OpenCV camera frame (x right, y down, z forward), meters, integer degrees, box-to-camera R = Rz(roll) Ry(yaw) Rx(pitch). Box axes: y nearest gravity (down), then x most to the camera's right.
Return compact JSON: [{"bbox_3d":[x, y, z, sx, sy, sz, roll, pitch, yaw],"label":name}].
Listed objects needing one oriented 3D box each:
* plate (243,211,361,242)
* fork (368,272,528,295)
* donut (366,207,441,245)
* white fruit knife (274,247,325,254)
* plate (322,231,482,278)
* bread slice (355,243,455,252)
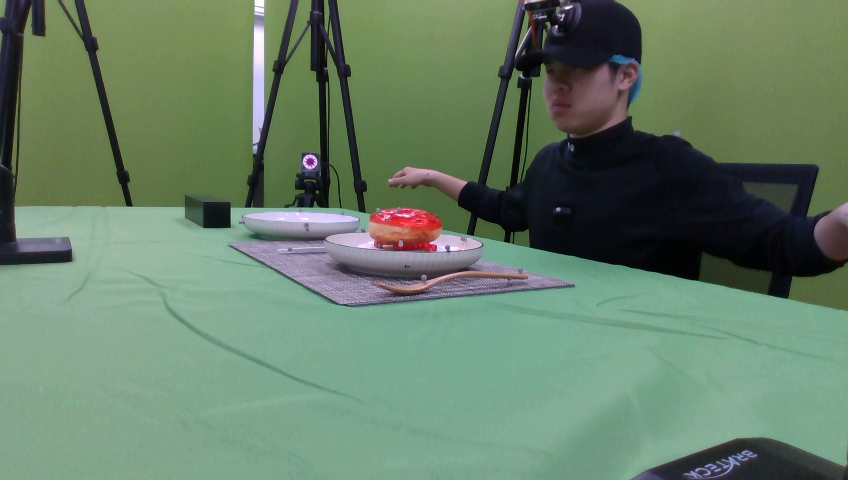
[{"bbox_3d":[-0.219,-0.025,1.091,0.208,0.039,0.207,3,7,0],"label":"plate"},{"bbox_3d":[0.034,0.046,0.661,0.208,0.018,0.028,-4,2,-33],"label":"fork"},{"bbox_3d":[-0.027,-0.017,0.786,0.099,0.048,0.099,2,7,0],"label":"donut"},{"bbox_3d":[-0.118,0.013,0.899,0.208,0.016,0.027,-3,-20,-27],"label":"white fruit knife"},{"bbox_3d":[-0.028,0.018,0.789,0.209,0.038,0.209,3,7,0],"label":"plate"},{"bbox_3d":[-0.027,0.020,0.794,0.131,0.019,0.105,6,7,17],"label":"bread slice"}]
